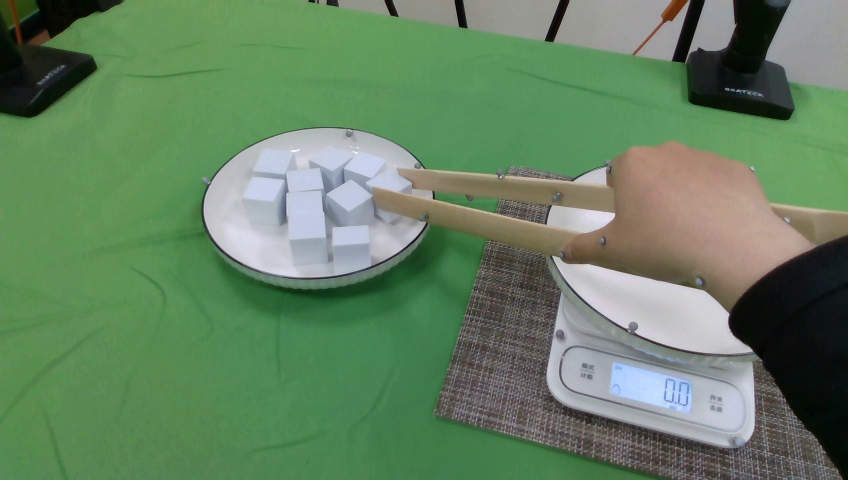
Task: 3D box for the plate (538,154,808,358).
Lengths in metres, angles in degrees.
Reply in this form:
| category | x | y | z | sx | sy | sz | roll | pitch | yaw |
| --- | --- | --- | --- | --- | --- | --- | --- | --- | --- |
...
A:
| category | x | y | z | sx | sy | sz | roll | pitch | yaw |
| --- | --- | --- | --- | --- | --- | --- | --- | --- | --- |
| plate | 0.192 | 0.010 | 0.487 | 0.208 | 0.039 | 0.205 | 2 | 47 | -2 |

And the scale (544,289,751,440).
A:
| category | x | y | z | sx | sy | sz | roll | pitch | yaw |
| --- | --- | --- | --- | --- | --- | --- | --- | --- | --- |
| scale | 0.184 | 0.053 | 0.492 | 0.148 | 0.032 | 0.199 | 13 | 48 | 10 |

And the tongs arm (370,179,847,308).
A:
| category | x | y | z | sx | sy | sz | roll | pitch | yaw |
| --- | --- | --- | --- | --- | --- | --- | --- | --- | --- |
| tongs arm | 0.096 | -0.010 | 0.421 | 0.384 | 0.028 | 0.028 | 14 | 43 | 41 |

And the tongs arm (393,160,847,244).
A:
| category | x | y | z | sx | sy | sz | roll | pitch | yaw |
| --- | --- | --- | --- | --- | --- | --- | --- | --- | --- |
| tongs arm | 0.111 | -0.025 | 0.433 | 0.382 | 0.027 | 0.050 | 10 | 44 | 38 |

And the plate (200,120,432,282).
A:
| category | x | y | z | sx | sy | sz | roll | pitch | yaw |
| --- | --- | --- | --- | --- | --- | --- | --- | --- | --- |
| plate | -0.096 | -0.036 | 0.563 | 0.209 | 0.038 | 0.207 | 2 | 46 | -2 |
